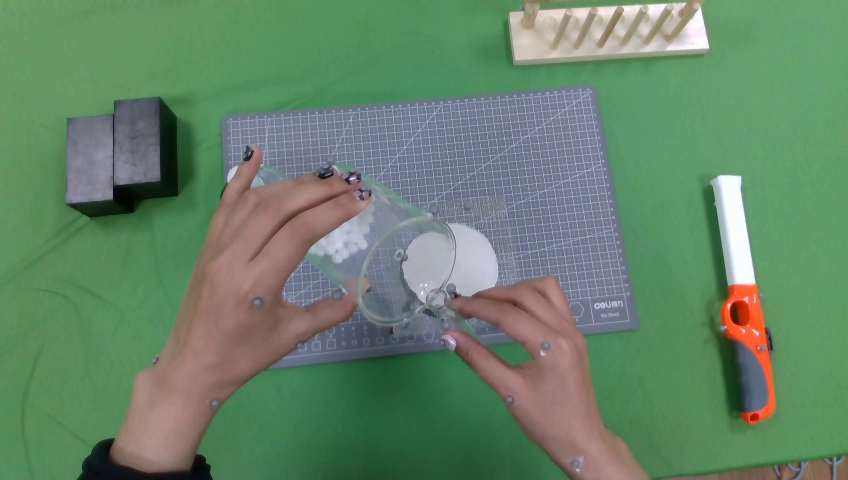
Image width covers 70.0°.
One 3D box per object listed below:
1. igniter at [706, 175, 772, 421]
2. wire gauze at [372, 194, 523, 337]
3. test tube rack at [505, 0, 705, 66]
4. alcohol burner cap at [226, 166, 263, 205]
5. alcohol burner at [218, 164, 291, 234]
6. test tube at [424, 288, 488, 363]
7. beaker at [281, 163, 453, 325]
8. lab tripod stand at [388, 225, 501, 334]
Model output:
[{"bbox_3d":[0.353,0.059,0.680,0.057,0.025,0.275,1,77,-12],"label":"igniter"},{"bbox_3d":[0.021,0.021,0.552,0.125,0.011,0.121,-7,76,-4],"label":"wire gauze"},{"bbox_3d":[0.226,-0.267,0.722,0.242,0.085,0.066,-5,77,-3],"label":"test tube rack"},{"bbox_3d":[-0.181,-0.057,0.605,0.034,0.048,0.033,1,78,-5],"label":"alcohol burner cap"},{"bbox_3d":[-0.183,-0.049,0.640,0.078,0.119,0.077,0,75,-1],"label":"alcohol burner"},{"bbox_3d":[0.028,0.069,0.459,0.017,0.152,0.017,-7,64,15],"label":"test tube"},{"bbox_3d":[-0.039,-0.001,0.393,0.074,0.085,0.099,-50,50,-5],"label":"beaker"},{"bbox_3d":[0.018,0.041,0.616,0.148,0.132,0.147,0,76,0],"label":"lab tripod stand"}]
